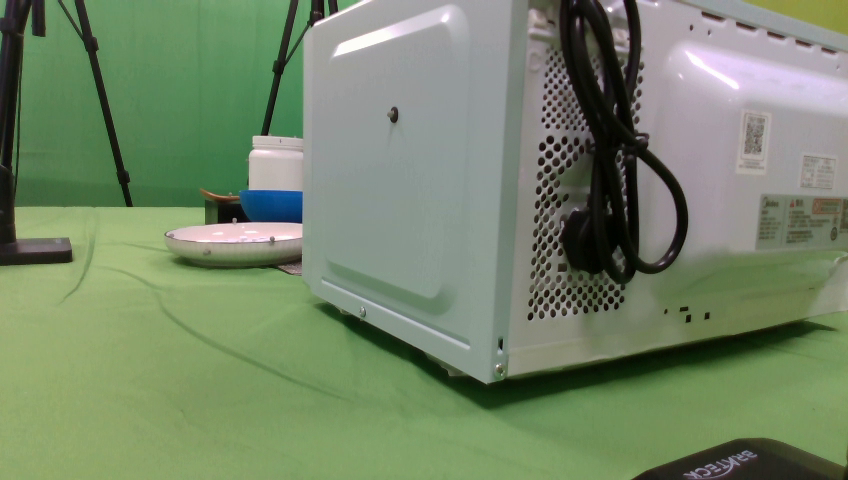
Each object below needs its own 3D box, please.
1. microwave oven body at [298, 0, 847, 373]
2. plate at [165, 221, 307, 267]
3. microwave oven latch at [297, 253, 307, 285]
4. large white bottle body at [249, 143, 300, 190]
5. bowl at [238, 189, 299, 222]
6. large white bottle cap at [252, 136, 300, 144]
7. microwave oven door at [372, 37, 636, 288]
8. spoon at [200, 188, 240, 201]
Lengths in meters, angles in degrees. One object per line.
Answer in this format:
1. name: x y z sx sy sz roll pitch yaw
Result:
1. microwave oven body: 0.151 -0.055 0.542 0.444 0.260 0.324 -2 7 -33
2. plate: -0.241 0.004 0.829 0.209 0.038 0.209 0 9 0
3. microwave oven latch: -0.082 0.027 0.583 0.079 0.029 0.030 -2 7 -33
4. large white bottle body: -0.338 -0.144 1.401 0.131 0.184 0.130 2 7 0
5. bowl: -0.245 -0.046 1.053 0.151 0.077 0.151 3 8 0
6. large white bottle cap: -0.336 -0.228 1.391 0.115 0.018 0.115 2 7 0
7. microwave oven door: 0.109 -0.080 0.686 0.358 0.243 0.039 -2 9 -33
8. spoon: -0.339 -0.080 1.190 0.194 0.021 0.041 5 1 -19
